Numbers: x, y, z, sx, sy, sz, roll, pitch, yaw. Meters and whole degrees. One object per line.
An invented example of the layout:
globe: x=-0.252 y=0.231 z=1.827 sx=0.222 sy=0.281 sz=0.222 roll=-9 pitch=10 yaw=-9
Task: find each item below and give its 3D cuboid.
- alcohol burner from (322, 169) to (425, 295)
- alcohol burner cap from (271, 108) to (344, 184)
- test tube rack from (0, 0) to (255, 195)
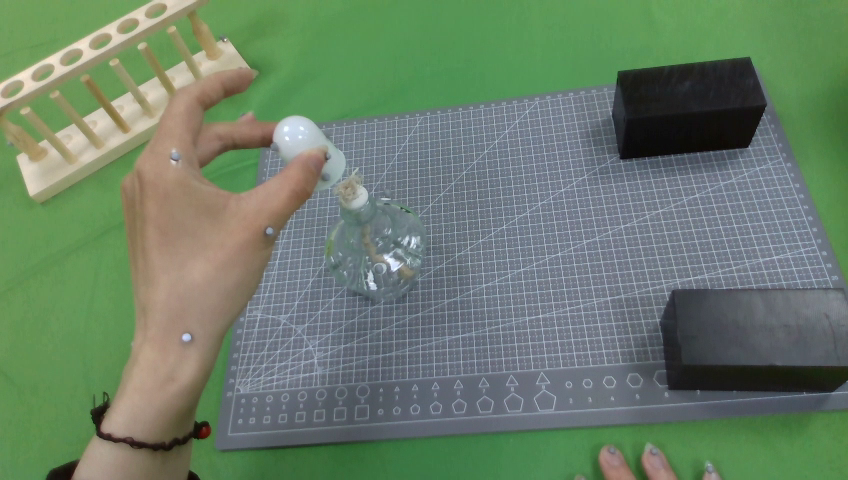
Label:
alcohol burner: x=-0.040 y=-0.009 z=0.437 sx=0.078 sy=0.120 sz=0.077 roll=-5 pitch=57 yaw=8
alcohol burner cap: x=-0.071 y=-0.058 z=0.361 sx=0.034 sy=0.048 sz=0.033 roll=-6 pitch=66 yaw=15
test tube rack: x=-0.298 y=-0.151 z=0.586 sx=0.242 sy=0.086 sz=0.066 roll=-33 pitch=60 yaw=-9
